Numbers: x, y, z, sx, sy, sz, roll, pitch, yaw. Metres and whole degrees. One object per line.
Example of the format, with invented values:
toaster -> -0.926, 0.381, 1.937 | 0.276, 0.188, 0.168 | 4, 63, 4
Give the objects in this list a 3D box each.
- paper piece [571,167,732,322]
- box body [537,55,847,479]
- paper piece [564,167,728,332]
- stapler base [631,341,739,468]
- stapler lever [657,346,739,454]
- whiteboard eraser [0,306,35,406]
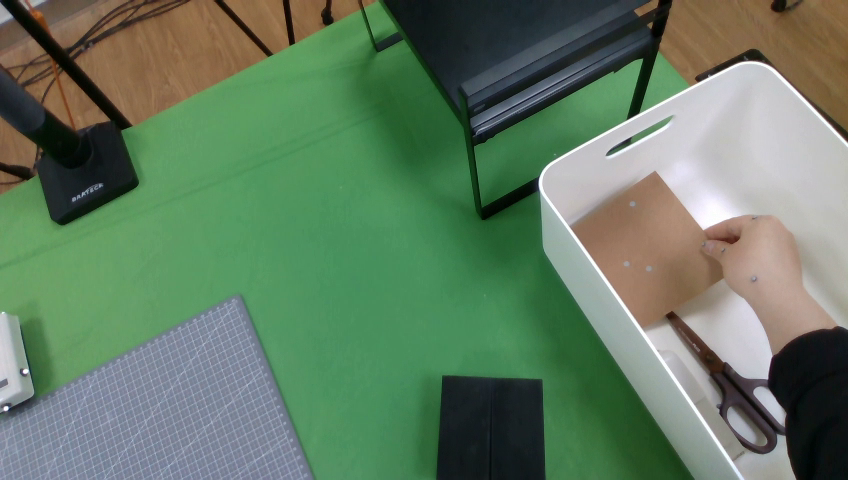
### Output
paper piece -> 0.229, 0.011, 0.653 | 0.135, 0.004, 0.134 | -35, 71, 15
box body -> 0.300, 0.045, 0.573 | 0.254, 0.161, 0.361 | -28, 67, -4
paper piece -> 0.237, 0.010, 0.671 | 0.136, 0.009, 0.137 | -41, 60, 32
stapler base -> 0.260, 0.162, 0.606 | 0.041, 0.024, 0.129 | -33, 74, 1
stapler lever -> 0.257, 0.156, 0.582 | 0.027, 0.040, 0.117 | -33, 74, 1
whiteboard eraser -> -0.500, 0.139, 0.718 | 0.055, 0.042, 0.111 | -29, 68, -3
